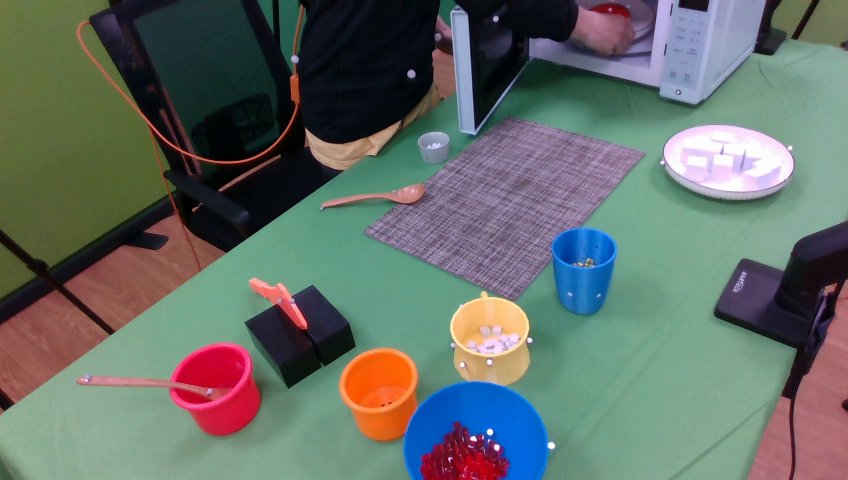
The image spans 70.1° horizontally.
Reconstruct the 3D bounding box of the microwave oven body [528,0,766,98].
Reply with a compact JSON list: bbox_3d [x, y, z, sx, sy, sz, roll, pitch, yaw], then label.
[{"bbox_3d":[0.473,-0.513,1.317,0.438,0.261,0.327,26,51,34],"label":"microwave oven body"}]

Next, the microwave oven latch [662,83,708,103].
[{"bbox_3d":[0.519,-0.297,1.204,0.078,0.029,0.030,29,53,36],"label":"microwave oven latch"}]

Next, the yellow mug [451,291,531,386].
[{"bbox_3d":[0.085,0.120,0.786,0.100,0.064,0.130,-7,39,1],"label":"yellow mug"}]

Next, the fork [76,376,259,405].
[{"bbox_3d":[-0.295,0.176,0.716,0.209,0.018,0.028,20,27,-37],"label":"fork"}]

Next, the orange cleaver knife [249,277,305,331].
[{"bbox_3d":[-0.210,0.088,0.856,0.012,0.077,0.210,-28,15,-25],"label":"orange cleaver knife"}]

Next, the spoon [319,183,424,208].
[{"bbox_3d":[-0.094,-0.076,1.074,0.193,0.022,0.041,-5,61,5],"label":"spoon"}]

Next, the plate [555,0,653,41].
[{"bbox_3d":[0.396,-0.488,1.340,0.209,0.038,0.208,-3,41,3],"label":"plate"}]

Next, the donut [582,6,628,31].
[{"bbox_3d":[0.398,-0.487,1.330,0.099,0.048,0.098,-4,35,3],"label":"donut"}]

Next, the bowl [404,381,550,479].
[{"bbox_3d":[0.058,0.235,0.645,0.151,0.077,0.150,-4,39,4],"label":"bowl"}]

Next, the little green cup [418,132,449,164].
[{"bbox_3d":[0.019,-0.177,1.168,0.061,0.039,0.061,-2,41,2],"label":"little green cup"}]

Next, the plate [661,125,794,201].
[{"bbox_3d":[0.513,-0.128,1.035,0.207,0.039,0.206,-4,40,4],"label":"plate"}]

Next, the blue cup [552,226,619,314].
[{"bbox_3d":[0.218,0.047,0.826,0.092,0.101,0.092,-6,40,5],"label":"blue cup"}]

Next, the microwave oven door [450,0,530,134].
[{"bbox_3d":[0.145,-0.412,1.240,0.039,0.245,0.356,13,44,23],"label":"microwave oven door"}]
